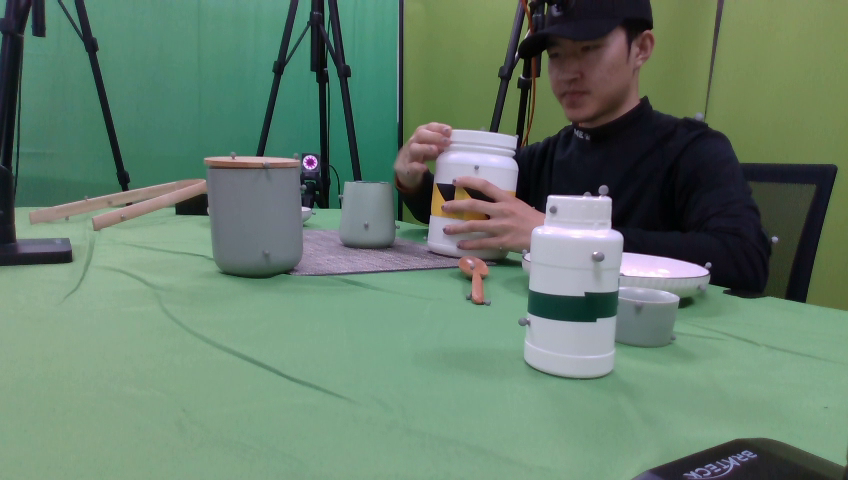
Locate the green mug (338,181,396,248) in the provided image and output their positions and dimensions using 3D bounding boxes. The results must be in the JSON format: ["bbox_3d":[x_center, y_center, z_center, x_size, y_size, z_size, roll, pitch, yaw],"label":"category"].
[{"bbox_3d":[-0.098,-0.044,0.995,0.093,0.105,0.125,-1,8,-21],"label":"green mug"}]

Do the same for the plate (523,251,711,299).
[{"bbox_3d":[0.219,0.041,0.706,0.209,0.038,0.209,2,7,0],"label":"plate"}]

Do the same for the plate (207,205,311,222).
[{"bbox_3d":[-0.342,-0.050,1.259,0.208,0.039,0.207,3,7,0],"label":"plate"}]

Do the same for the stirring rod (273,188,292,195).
[{"bbox_3d":[-0.354,-0.122,1.518,0.006,0.014,0.176,2,7,1],"label":"stirring rod"}]

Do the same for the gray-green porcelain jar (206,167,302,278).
[{"bbox_3d":[-0.201,-0.024,0.725,0.106,0.126,0.106,-1,9,1],"label":"gray-green porcelain jar"}]

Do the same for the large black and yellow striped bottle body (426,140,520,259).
[{"bbox_3d":[0.077,-0.068,0.934,0.131,0.184,0.130,7,5,0],"label":"large black and yellow striped bottle body"}]

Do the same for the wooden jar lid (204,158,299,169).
[{"bbox_3d":[-0.203,-0.086,0.714,0.108,0.020,0.108,3,11,0],"label":"wooden jar lid"}]

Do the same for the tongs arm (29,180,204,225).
[{"bbox_3d":[-0.609,-0.083,1.245,0.050,0.026,0.386,5,16,23],"label":"tongs arm"}]

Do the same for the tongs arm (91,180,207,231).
[{"bbox_3d":[-0.534,-0.076,1.221,0.028,0.028,0.388,-2,15,12],"label":"tongs arm"}]

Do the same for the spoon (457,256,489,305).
[{"bbox_3d":[0.059,0.044,0.695,0.041,0.021,0.194,18,7,0],"label":"spoon"}]

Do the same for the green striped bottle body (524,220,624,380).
[{"bbox_3d":[0.104,0.031,0.422,0.063,0.119,0.063,2,8,0],"label":"green striped bottle body"}]

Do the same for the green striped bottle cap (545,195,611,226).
[{"bbox_3d":[0.105,-0.020,0.415,0.044,0.020,0.044,2,4,0],"label":"green striped bottle cap"}]

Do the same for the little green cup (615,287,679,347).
[{"bbox_3d":[0.180,0.064,0.506,0.061,0.038,0.061,1,8,0],"label":"little green cup"}]

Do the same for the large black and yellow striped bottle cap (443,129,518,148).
[{"bbox_3d":[0.086,-0.154,0.925,0.115,0.019,0.115,6,4,0],"label":"large black and yellow striped bottle cap"}]
